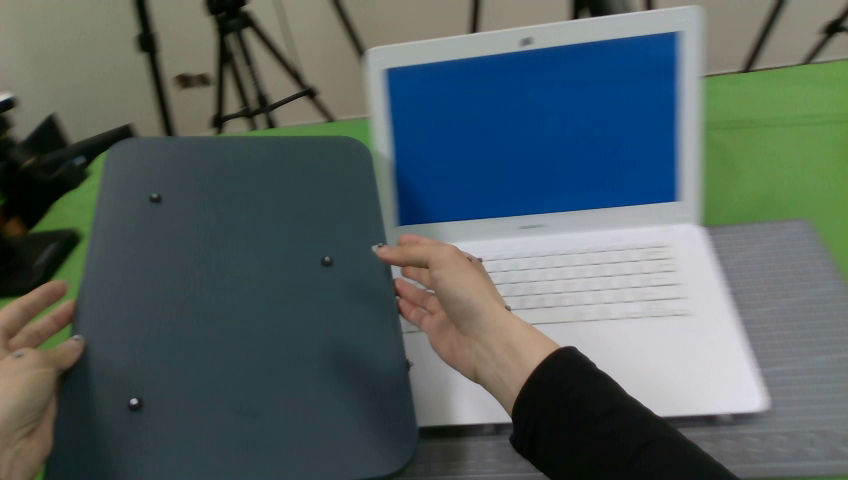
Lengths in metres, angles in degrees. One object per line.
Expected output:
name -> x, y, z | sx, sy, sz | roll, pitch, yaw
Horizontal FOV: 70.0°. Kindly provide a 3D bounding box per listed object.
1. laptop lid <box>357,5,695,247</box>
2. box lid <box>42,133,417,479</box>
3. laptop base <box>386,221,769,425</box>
laptop lid -> 0.109, -0.113, 0.664 | 0.356, 0.242, 0.013 | -6, 11, 8
box lid -> -0.159, 0.038, 0.530 | 0.264, 0.015, 0.367 | -3, 53, -13
laptop base -> 0.115, 0.077, 0.600 | 0.354, 0.023, 0.233 | -5, 43, 8
